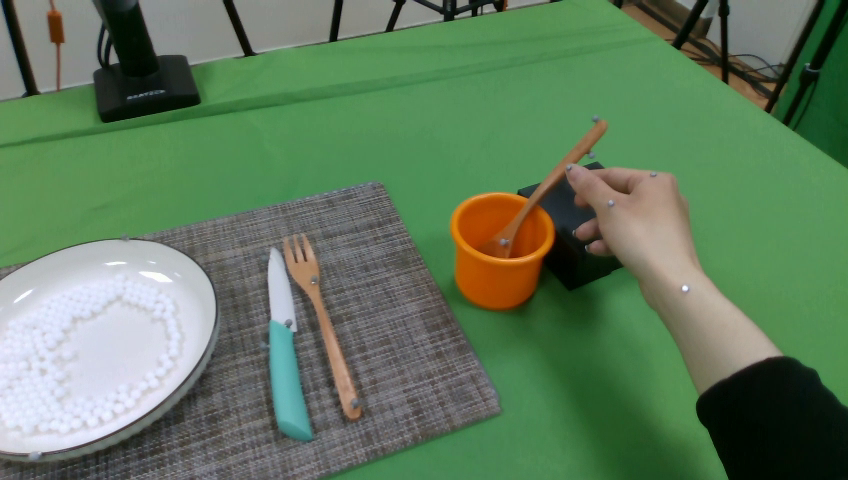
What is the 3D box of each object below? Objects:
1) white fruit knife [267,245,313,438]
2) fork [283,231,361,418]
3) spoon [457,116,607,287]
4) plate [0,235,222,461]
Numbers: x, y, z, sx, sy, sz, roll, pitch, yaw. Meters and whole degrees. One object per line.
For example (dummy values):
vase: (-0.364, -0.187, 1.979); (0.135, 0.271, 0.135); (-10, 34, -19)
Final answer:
white fruit knife: (-0.121, 0.075, 0.520); (0.027, 0.016, 0.205); (15, 35, -31)
fork: (-0.090, 0.065, 0.526); (0.028, 0.019, 0.205); (-7, 44, -25)
spoon: (0.097, -0.033, 0.543); (0.022, 0.194, 0.041); (21, 22, -49)
plate: (-0.268, 0.082, 0.490); (0.209, 0.038, 0.207); (1, 45, -1)
